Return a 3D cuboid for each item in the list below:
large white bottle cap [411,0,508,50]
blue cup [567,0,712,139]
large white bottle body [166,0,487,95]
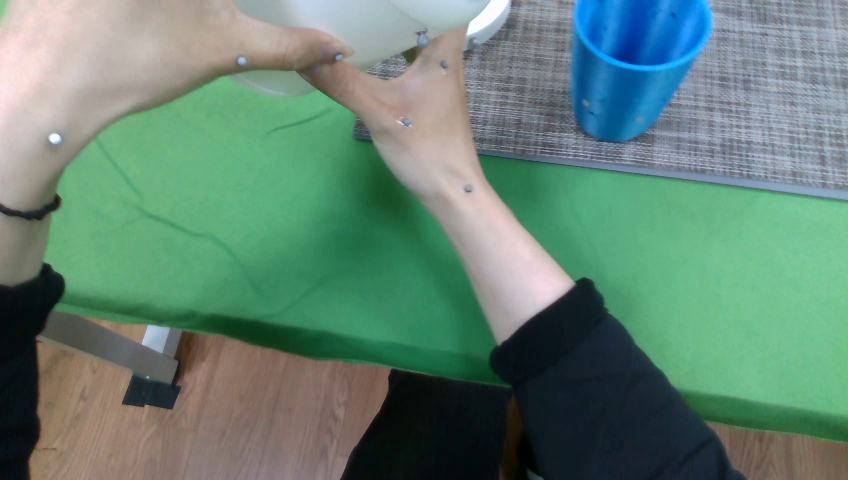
[{"bbox_3d":[0.014,-0.211,0.509,0.115,0.018,0.114,-1,69,2],"label":"large white bottle cap"},{"bbox_3d":[0.138,-0.122,0.422,0.092,0.101,0.092,-2,67,4],"label":"blue cup"},{"bbox_3d":[-0.041,-0.163,0.322,0.184,0.132,0.130,-8,62,41],"label":"large white bottle body"}]
